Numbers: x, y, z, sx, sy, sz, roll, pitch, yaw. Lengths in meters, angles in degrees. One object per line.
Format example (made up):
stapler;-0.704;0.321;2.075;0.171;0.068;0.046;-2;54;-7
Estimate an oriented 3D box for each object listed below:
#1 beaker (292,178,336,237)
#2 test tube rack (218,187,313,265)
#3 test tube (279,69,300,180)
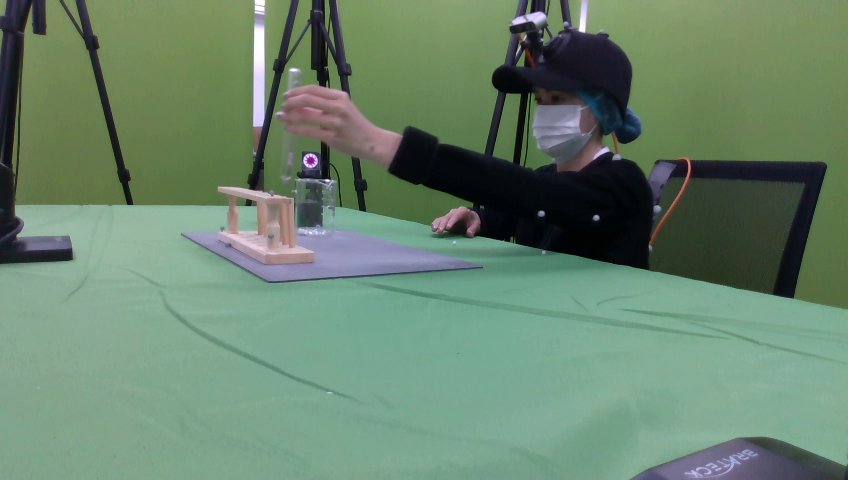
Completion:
beaker;-0.195;-0.058;1.080;0.074;0.100;0.083;-4;11;-40
test tube rack;-0.235;-0.027;0.872;0.067;0.085;0.241;-1;8;-32
test tube;-0.184;-0.156;0.826;0.017;0.150;0.017;7;7;-1
